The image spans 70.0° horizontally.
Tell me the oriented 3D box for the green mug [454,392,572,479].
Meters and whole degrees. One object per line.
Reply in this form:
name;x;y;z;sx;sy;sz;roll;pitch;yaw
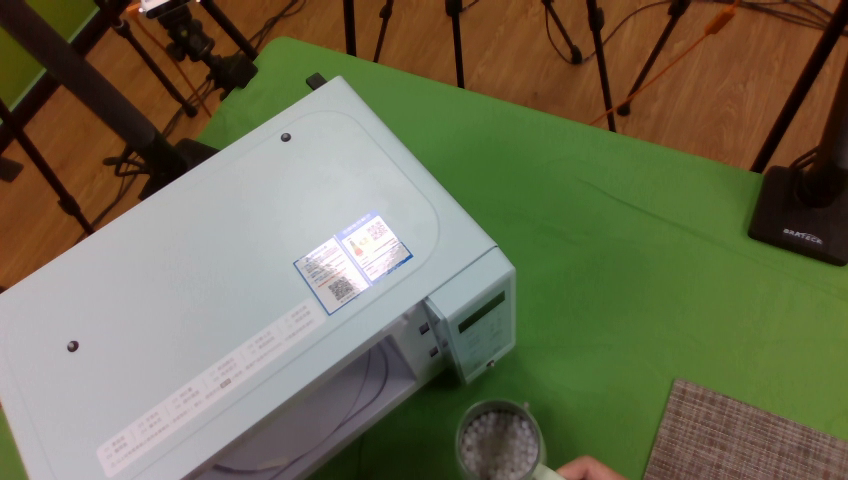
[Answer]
green mug;0.087;0.207;0.588;0.124;0.106;0.092;28;71;20

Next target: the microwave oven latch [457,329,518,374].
microwave oven latch;0.075;0.126;0.724;0.079;0.030;0.030;-34;65;-8

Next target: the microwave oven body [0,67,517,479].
microwave oven body;-0.166;0.085;0.670;0.441;0.262;0.323;-36;65;-9
